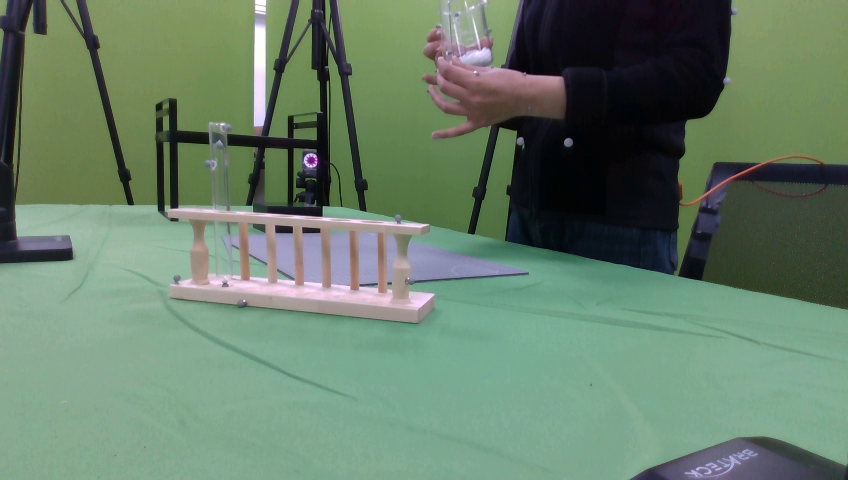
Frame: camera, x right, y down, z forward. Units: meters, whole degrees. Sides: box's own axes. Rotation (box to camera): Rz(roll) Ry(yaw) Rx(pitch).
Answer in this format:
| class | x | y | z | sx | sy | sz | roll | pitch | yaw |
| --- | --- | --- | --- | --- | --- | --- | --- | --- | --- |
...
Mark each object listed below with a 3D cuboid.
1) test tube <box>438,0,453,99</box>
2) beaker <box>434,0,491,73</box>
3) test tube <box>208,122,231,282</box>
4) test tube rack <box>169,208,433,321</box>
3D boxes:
| class | x | y | z | sx | sy | sz | roll | pitch | yaw |
| --- | --- | --- | --- | --- | --- | --- | --- | --- | --- |
| test tube | 0.031 | -0.281 | 0.877 | 0.017 | 0.150 | 0.017 | -4 | 8 | 1 |
| beaker | 0.066 | -0.322 | 0.956 | 0.084 | 0.100 | 0.074 | -12 | 6 | 2 |
| test tube | -0.191 | -0.034 | 0.565 | 0.017 | 0.150 | 0.017 | 2 | 11 | 0 |
| test tube rack | -0.115 | 0.017 | 0.574 | 0.242 | 0.085 | 0.067 | 4 | 8 | 13 |
